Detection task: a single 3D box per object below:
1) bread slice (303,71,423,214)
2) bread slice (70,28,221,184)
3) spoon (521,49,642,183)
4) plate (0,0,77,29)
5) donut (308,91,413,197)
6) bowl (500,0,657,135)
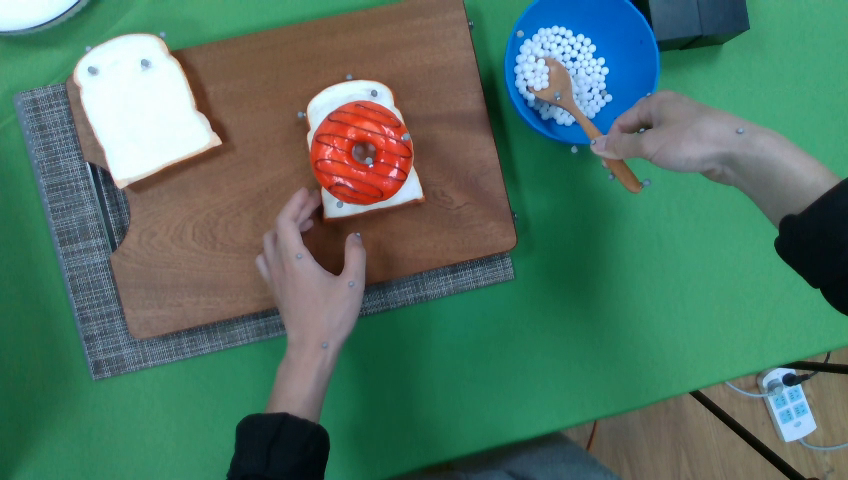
[{"bbox_3d":[-0.066,-0.099,0.600,0.105,0.019,0.131,-15,95,-4],"label":"bread slice"},{"bbox_3d":[-0.274,-0.133,0.583,0.107,0.018,0.134,-28,93,-3],"label":"bread slice"},{"bbox_3d":[0.142,-0.118,0.555,0.041,0.022,0.191,-24,50,-1],"label":"spoon"},{"bbox_3d":[-0.411,-0.307,0.586,0.208,0.039,0.207,0,93,-4],"label":"plate"},{"bbox_3d":[-0.059,-0.090,0.571,0.099,0.048,0.099,0,94,-4],"label":"donut"},{"bbox_3d":[0.145,-0.176,0.609,0.151,0.076,0.151,0,93,-3],"label":"bowl"}]
